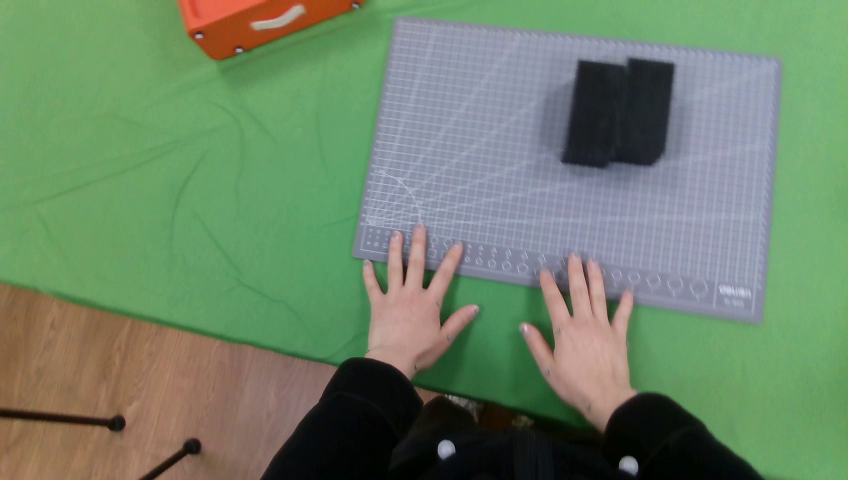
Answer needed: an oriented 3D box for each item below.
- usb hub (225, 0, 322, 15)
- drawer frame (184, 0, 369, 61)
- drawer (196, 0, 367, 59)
[{"bbox_3d":[-0.179,-0.309,0.735,0.125,0.025,0.049,-5,80,10],"label":"usb hub"},{"bbox_3d":[-0.195,-0.352,0.727,0.201,0.083,0.212,-20,78,2],"label":"drawer frame"},{"bbox_3d":[-0.194,-0.351,0.728,0.194,0.073,0.211,-19,79,3],"label":"drawer"}]
